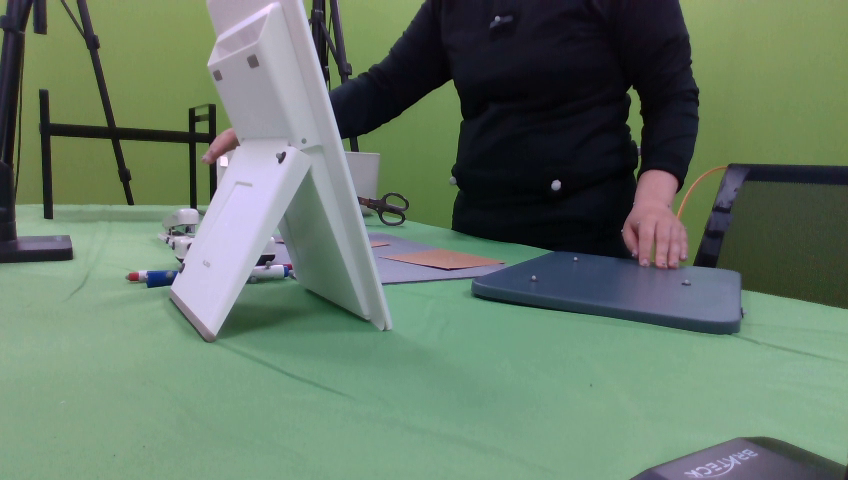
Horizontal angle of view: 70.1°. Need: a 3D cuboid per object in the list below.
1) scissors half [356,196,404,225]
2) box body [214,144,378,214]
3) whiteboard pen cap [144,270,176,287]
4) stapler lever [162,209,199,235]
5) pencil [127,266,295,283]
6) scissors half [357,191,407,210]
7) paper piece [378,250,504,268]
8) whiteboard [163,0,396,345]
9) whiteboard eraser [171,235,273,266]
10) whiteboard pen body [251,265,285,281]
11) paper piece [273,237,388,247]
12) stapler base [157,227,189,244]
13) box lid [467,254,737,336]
[{"bbox_3d":[-0.128,-0.072,1.321,0.175,0.040,0.013,22,4,-5],"label":"scissors half"},{"bbox_3d":[-0.329,-0.154,1.543,0.366,0.160,0.253,-2,9,-32],"label":"box body"},{"bbox_3d":[-0.271,0.039,0.627,0.033,0.018,0.018,-3,9,-32],"label":"whiteboard pen cap"},{"bbox_3d":[-0.377,-0.031,0.933,0.027,0.040,0.117,0,7,-38],"label":"stapler lever"},{"bbox_3d":[-0.232,0.037,0.690,0.195,0.012,0.012,-2,9,-34],"label":"pencil"},{"bbox_3d":[-0.123,-0.092,1.318,0.175,0.040,0.013,5,10,-4],"label":"scissors half"},{"bbox_3d":[0.025,0.026,0.865,0.134,0.004,0.136,8,8,43],"label":"paper piece"},{"bbox_3d":[-0.173,-0.053,0.511,0.144,0.305,0.216,-23,19,-26],"label":"whiteboard"},{"bbox_3d":[-0.248,0.014,0.747,0.113,0.042,0.055,-1,10,-32],"label":"whiteboard eraser"},{"bbox_3d":[-0.220,0.039,0.656,0.141,0.017,0.017,-2,9,-31],"label":"whiteboard pen body"},{"bbox_3d":[-0.151,0.003,0.978,0.135,0.008,0.139,12,10,35],"label":"paper piece"},{"bbox_3d":[-0.376,-0.008,0.934,0.041,0.024,0.130,0,5,-38],"label":"stapler base"},{"bbox_3d":[0.234,0.054,0.735,0.262,0.015,0.373,7,7,27],"label":"box lid"}]
